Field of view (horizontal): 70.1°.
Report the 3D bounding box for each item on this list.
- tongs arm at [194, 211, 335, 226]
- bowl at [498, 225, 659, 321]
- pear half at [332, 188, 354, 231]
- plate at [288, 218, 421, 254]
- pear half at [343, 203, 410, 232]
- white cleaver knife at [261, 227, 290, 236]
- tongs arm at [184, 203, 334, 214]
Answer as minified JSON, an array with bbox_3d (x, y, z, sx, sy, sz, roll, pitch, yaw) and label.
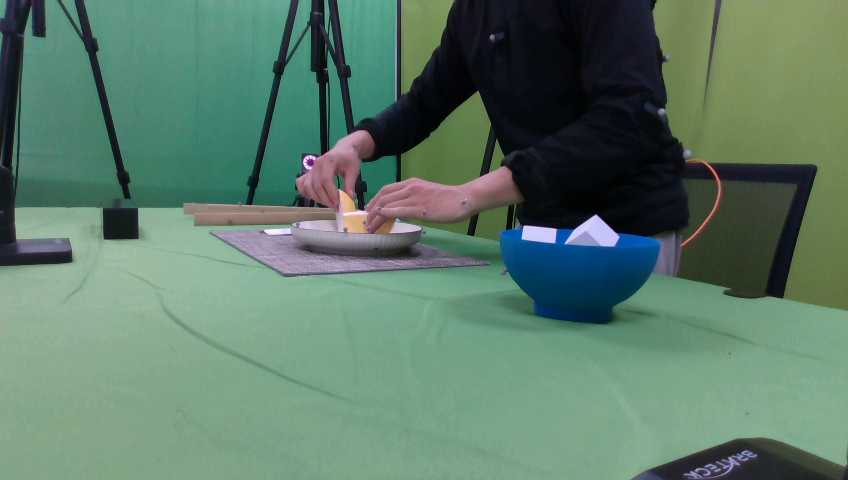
[{"bbox_3d":[-0.298,-0.049,1.307,0.390,0.028,0.028,-3,8,-38],"label":"tongs arm"},{"bbox_3d":[0.144,0.031,0.585,0.151,0.077,0.151,2,7,0],"label":"bowl"},{"bbox_3d":[-0.132,-0.053,1.008,0.031,0.070,0.087,0,45,-20],"label":"pear half"},{"bbox_3d":[-0.109,-0.007,0.956,0.208,0.039,0.207,2,7,0],"label":"plate"},{"bbox_3d":[-0.068,-0.019,0.913,0.109,0.056,0.076,14,23,32],"label":"pear half"},{"bbox_3d":[-0.169,-0.022,1.156,0.288,0.021,0.065,-7,18,-33],"label":"white cleaver knife"},{"bbox_3d":[-0.337,-0.065,1.376,0.387,0.026,0.050,0,9,-25],"label":"tongs arm"}]
